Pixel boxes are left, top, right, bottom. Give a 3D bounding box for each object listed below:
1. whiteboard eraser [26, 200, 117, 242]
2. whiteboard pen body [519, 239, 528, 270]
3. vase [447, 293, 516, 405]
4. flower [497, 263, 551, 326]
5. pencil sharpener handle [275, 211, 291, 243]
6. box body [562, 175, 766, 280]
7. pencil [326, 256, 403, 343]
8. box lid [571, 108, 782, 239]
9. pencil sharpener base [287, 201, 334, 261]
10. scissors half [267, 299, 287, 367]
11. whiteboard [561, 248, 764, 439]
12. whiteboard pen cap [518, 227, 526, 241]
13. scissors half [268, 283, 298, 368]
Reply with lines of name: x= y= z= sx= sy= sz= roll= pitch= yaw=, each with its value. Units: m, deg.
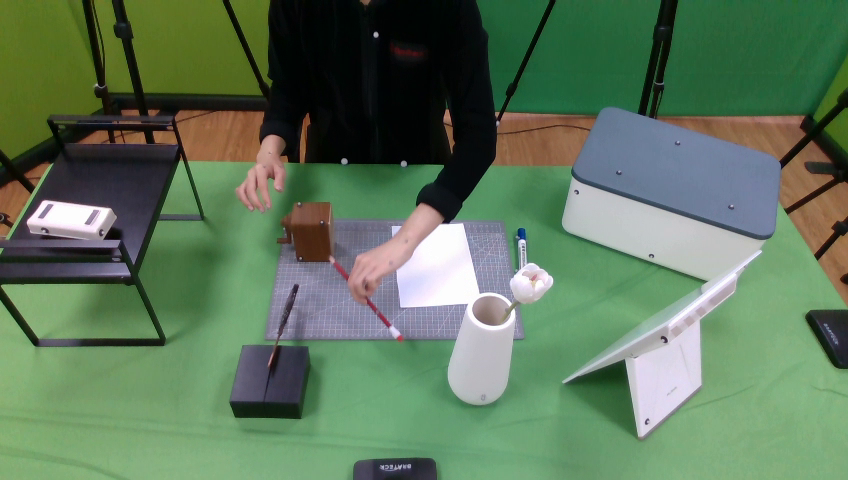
whiteboard eraser: x=-0.532 y=-0.026 z=0.919 sx=0.113 sy=0.042 sz=0.055 roll=7 pitch=45 yaw=3
whiteboard pen body: x=0.193 y=0.035 z=1.180 sx=0.017 sy=0.017 sz=0.140 roll=6 pitch=48 yaw=1
vase: x=0.091 y=0.169 z=0.921 sx=0.098 sy=0.201 sz=0.097 roll=3 pitch=47 yaw=-3
flower: x=0.103 y=0.121 z=0.852 sx=0.044 sy=0.363 sz=0.038 roll=-2 pitch=64 yaw=-9
pencil sharpener handle: x=-0.262 y=-0.022 z=1.118 sx=0.031 sy=0.068 sz=0.036 roll=-1 pitch=37 yaw=-4
box body: x=0.486 y=-0.088 z=1.222 sx=0.363 sy=0.161 sz=0.253 roll=20 pitch=48 yaw=15
pencil: x=-0.100 y=0.097 z=1.007 sx=0.012 sy=0.012 sz=0.193 roll=-36 pitch=77 yaw=-32
box lid: x=0.491 y=-0.139 z=1.168 sx=0.370 sy=0.015 sz=0.262 roll=21 pitch=49 yaw=15
pencil sharpener base: x=-0.211 y=-0.016 z=1.133 sx=0.077 sy=0.107 sz=0.061 roll=-1 pitch=47 yaw=-4
scissors half: x=-0.239 y=0.150 z=0.997 sx=0.013 sy=0.040 sz=0.174 roll=24 pitch=24 yaw=-13
whiteboard: x=0.386 y=0.176 z=0.905 sx=0.217 sy=0.306 sz=0.143 roll=-26 pitch=72 yaw=-27
whiteboard pen cap: x=0.197 y=-0.009 z=1.220 sx=0.018 sy=0.018 sz=0.033 roll=6 pitch=51 yaw=1
scissors half: x=-0.230 y=0.135 z=0.986 sx=0.013 sy=0.040 sz=0.174 roll=19 pitch=43 yaw=-11
